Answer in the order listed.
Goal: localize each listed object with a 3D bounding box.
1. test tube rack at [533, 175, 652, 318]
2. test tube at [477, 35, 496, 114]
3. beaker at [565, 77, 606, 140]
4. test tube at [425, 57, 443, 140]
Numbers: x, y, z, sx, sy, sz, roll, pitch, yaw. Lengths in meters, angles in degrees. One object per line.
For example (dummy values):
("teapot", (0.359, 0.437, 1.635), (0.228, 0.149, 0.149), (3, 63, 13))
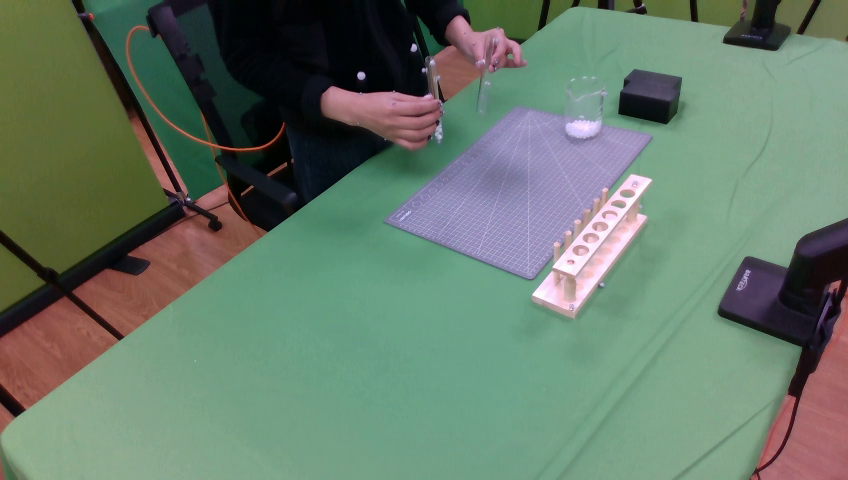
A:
("test tube rack", (0.250, -0.001, 0.889), (0.066, 0.085, 0.243), (22, 49, 33))
("test tube", (0.109, -0.289, 1.069), (0.017, 0.151, 0.017), (3, 43, -2))
("beaker", (0.304, -0.247, 1.153), (0.073, 0.101, 0.084), (15, 47, 27))
("test tube", (0.017, -0.225, 0.980), (0.017, 0.151, 0.017), (-5, 45, 5))
